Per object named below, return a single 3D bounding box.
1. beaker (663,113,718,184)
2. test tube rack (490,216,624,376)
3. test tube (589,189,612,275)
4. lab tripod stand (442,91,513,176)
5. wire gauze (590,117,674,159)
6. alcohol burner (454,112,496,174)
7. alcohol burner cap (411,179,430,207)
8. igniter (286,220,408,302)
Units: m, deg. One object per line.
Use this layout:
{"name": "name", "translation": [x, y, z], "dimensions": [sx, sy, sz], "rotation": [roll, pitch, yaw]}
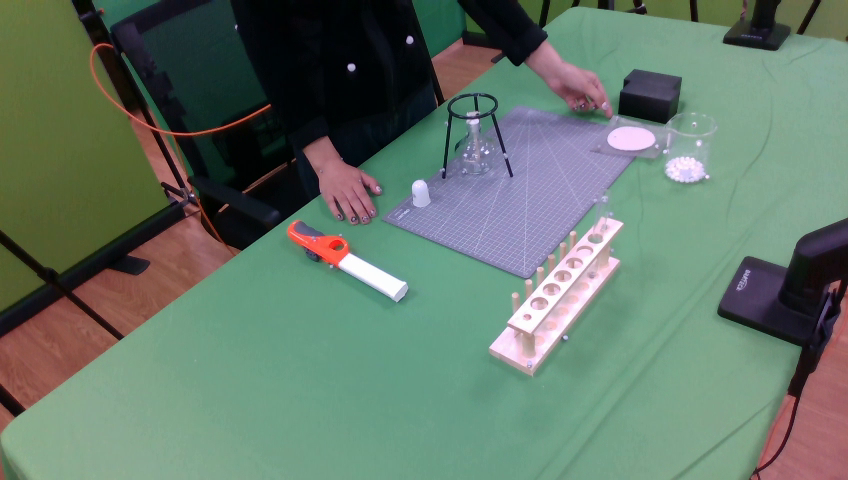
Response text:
{"name": "beaker", "translation": [0.442, -0.151, 1.018], "dimensions": [0.084, 0.101, 0.074], "rotation": [-1, 40, 11]}
{"name": "test tube rack", "translation": [0.184, 0.064, 0.822], "dimensions": [0.066, 0.085, 0.243], "rotation": [24, 50, 33]}
{"name": "test tube", "translation": [0.238, -0.006, 0.818], "dimensions": [0.017, 0.151, 0.017], "rotation": [-3, 43, 4]}
{"name": "lab tripod stand", "translation": [0.096, -0.190, 1.096], "dimensions": [0.148, 0.132, 0.147], "rotation": [-4, 40, 4]}
{"name": "wire gauze", "translation": [0.394, -0.192, 1.139], "dimensions": [0.120, 0.011, 0.125], "rotation": [19, 47, 28]}
{"name": "alcohol burner", "translation": [0.092, -0.181, 1.102], "dimensions": [0.078, 0.119, 0.077], "rotation": [-5, 42, 5]}
{"name": "alcohol burner cap", "translation": [-0.008, -0.085, 1.063], "dimensions": [0.034, 0.048, 0.033], "rotation": [-4, 40, 4]}
{"name": "igniter", "translation": [-0.134, 0.028, 0.969], "dimensions": [0.274, 0.025, 0.057], "rotation": [26, 61, 35]}
